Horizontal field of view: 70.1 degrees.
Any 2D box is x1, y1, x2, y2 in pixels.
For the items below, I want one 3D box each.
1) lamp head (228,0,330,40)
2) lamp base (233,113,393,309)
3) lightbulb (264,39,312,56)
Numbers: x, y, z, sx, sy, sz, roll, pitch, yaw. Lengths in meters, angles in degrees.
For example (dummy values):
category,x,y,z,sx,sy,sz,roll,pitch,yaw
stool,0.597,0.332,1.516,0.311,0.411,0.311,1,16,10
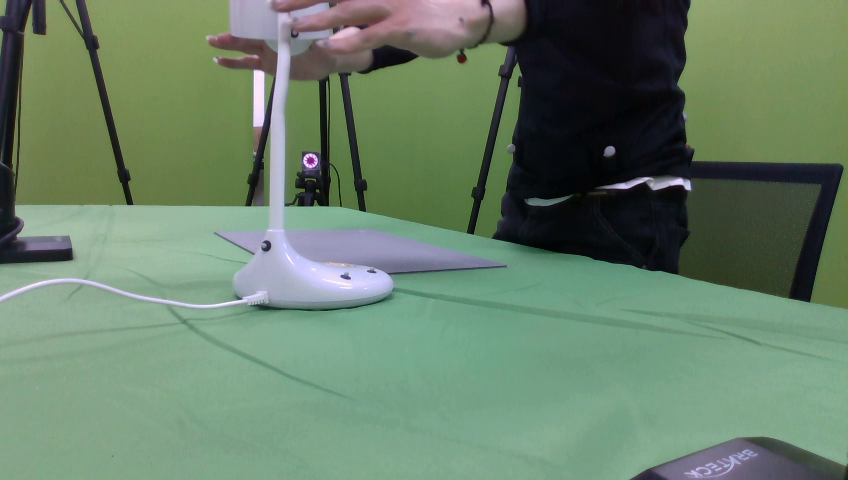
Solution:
category,x,y,z,sx,sy,sz,roll,pitch,yaw
lamp head,-0.160,-0.280,0.656,0.112,0.123,0.112,2,29,-1
lamp base,-0.113,-0.032,0.595,0.160,0.180,0.179,4,10,18
lightbulb,-0.155,-0.260,0.672,0.059,0.107,0.059,-2,25,1
